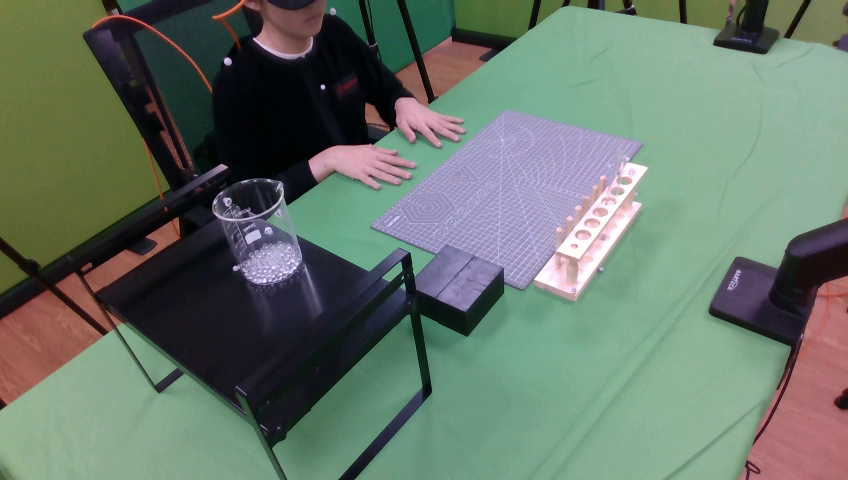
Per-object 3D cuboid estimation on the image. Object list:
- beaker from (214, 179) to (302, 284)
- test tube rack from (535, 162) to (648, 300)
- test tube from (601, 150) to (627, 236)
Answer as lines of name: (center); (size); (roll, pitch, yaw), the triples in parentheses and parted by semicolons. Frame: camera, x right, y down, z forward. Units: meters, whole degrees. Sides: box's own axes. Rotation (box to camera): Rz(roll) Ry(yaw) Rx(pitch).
beaker: (-0.178, -0.008, 0.675); (0.073, 0.101, 0.084); (22, 48, 30)
test tube rack: (0.257, -0.024, 0.916); (0.066, 0.085, 0.243); (22, 49, 30)
test tube: (0.276, -0.065, 0.884); (0.017, 0.151, 0.017); (-2, 41, 2)
